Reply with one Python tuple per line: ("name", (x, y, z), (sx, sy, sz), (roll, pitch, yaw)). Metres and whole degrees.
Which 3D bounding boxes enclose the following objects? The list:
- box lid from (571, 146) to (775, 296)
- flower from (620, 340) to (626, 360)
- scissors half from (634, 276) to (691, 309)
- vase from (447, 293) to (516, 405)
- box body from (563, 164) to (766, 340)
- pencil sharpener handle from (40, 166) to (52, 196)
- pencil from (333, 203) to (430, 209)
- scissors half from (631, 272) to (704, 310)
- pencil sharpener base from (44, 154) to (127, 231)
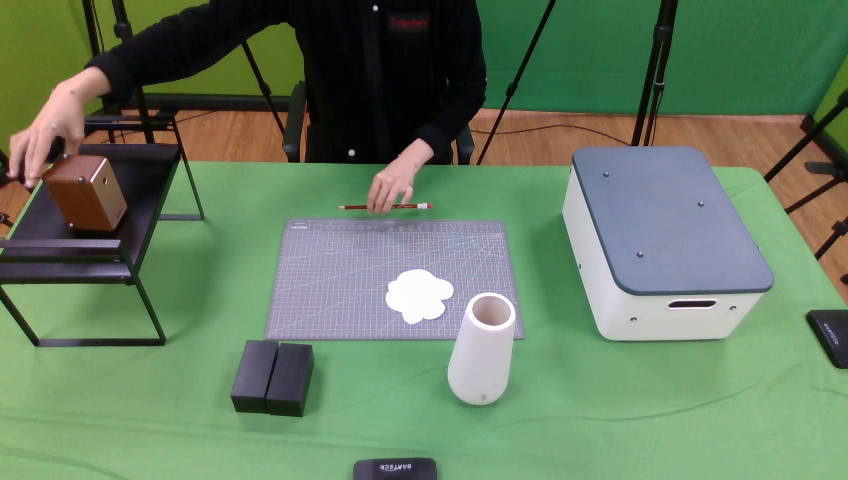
("box lid", (0.424, -0.048, 1.074), (0.263, 0.015, 0.369), (-1, 46, -4))
("flower", (0.416, 0.065, 1.186), (0.038, 0.044, 0.360), (29, 64, -20))
("scissors half", (0.454, 0.096, 1.144), (0.175, 0.040, 0.013), (-20, 88, -31))
("vase", (0.091, 0.168, 0.921), (0.098, 0.201, 0.097), (3, 47, -3))
("box body", (0.421, 0.003, 1.130), (0.254, 0.161, 0.361), (0, 46, -5))
("pencil sharpener handle", (-0.562, -0.085, 0.911), (0.030, 0.068, 0.036), (3, 60, 0))
("pencil", (-0.083, -0.068, 1.209), (0.194, 0.012, 0.012), (-1, 47, -11))
("scissors half", (0.460, 0.092, 1.132), (0.175, 0.040, 0.013), (-22, 83, -21))
("pencil sharpener base", (-0.512, -0.071, 0.918), (0.077, 0.107, 0.061), (3, 47, 0))
